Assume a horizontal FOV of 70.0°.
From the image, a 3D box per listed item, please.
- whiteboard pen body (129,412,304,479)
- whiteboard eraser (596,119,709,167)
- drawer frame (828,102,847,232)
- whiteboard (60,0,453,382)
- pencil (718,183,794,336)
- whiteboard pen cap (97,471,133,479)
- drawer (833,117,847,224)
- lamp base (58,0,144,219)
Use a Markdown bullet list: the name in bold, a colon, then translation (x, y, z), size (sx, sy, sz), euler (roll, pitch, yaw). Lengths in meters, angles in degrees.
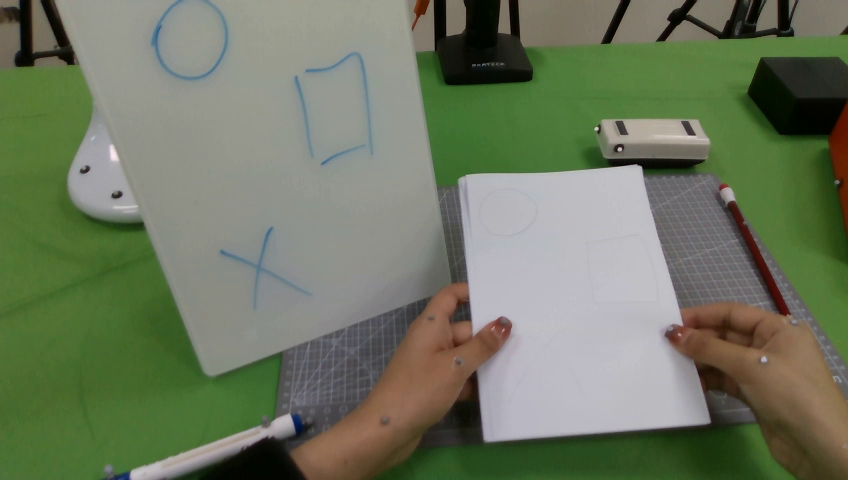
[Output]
- **whiteboard pen body**: translation (-0.152, 0.148, 0.415), size (0.141, 0.017, 0.017), euler (-16, 46, -19)
- **whiteboard eraser**: translation (0.253, -0.109, 0.677), size (0.113, 0.042, 0.055), euler (1, 44, 1)
- **drawer frame**: translation (0.523, -0.048, 0.586), size (0.201, 0.083, 0.212), euler (13, 44, 14)
- **whiteboard**: translation (-0.120, -0.081, 0.494), size (0.217, 0.308, 0.142), euler (-18, 27, -18)
- **pencil**: translation (0.311, 0.011, 0.571), size (0.012, 0.012, 0.192), euler (1, 46, 1)
- **whiteboard pen cap**: translation (-0.207, 0.163, 0.395), size (0.033, 0.018, 0.018), euler (-15, 45, -22)
- **drawer**: translation (0.522, -0.044, 0.584), size (0.194, 0.074, 0.210), euler (14, 44, 15)
- **lamp base**: translation (-0.302, -0.138, 0.600), size (0.178, 0.182, 0.160), euler (26, 49, 28)
